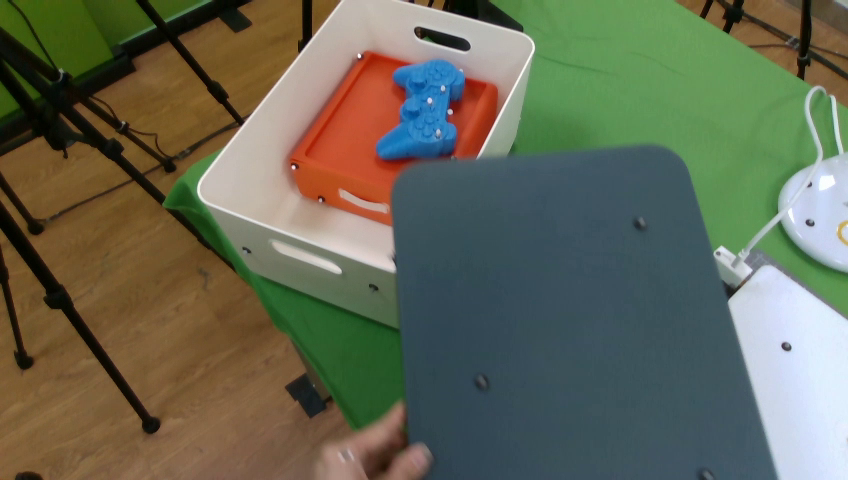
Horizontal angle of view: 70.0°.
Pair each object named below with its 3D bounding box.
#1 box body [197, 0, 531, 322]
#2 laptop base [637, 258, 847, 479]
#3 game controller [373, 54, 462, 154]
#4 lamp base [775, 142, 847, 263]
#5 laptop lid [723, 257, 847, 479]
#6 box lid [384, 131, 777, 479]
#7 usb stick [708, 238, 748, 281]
[{"bbox_3d":[-0.050,-0.106,0.729,0.253,0.162,0.362,19,61,13],"label":"box body"},{"bbox_3d":[0.425,0.198,0.614,0.235,0.023,0.351,-39,65,-16],"label":"laptop base"},{"bbox_3d":[-0.005,-0.173,0.750,0.097,0.052,0.154,8,58,2],"label":"game controller"},{"bbox_3d":[0.522,-0.090,0.696,0.160,0.182,0.178,9,56,7],"label":"lamp base"},{"bbox_3d":[0.423,0.193,0.604,0.241,0.013,0.353,-37,64,-17],"label":"laptop lid"},{"bbox_3d":[0.111,0.078,0.470,0.263,0.015,0.368,-5,68,-4],"label":"box lid"},{"bbox_3d":[0.355,0.027,0.707,0.021,0.027,0.058,-31,66,-22],"label":"usb stick"}]
